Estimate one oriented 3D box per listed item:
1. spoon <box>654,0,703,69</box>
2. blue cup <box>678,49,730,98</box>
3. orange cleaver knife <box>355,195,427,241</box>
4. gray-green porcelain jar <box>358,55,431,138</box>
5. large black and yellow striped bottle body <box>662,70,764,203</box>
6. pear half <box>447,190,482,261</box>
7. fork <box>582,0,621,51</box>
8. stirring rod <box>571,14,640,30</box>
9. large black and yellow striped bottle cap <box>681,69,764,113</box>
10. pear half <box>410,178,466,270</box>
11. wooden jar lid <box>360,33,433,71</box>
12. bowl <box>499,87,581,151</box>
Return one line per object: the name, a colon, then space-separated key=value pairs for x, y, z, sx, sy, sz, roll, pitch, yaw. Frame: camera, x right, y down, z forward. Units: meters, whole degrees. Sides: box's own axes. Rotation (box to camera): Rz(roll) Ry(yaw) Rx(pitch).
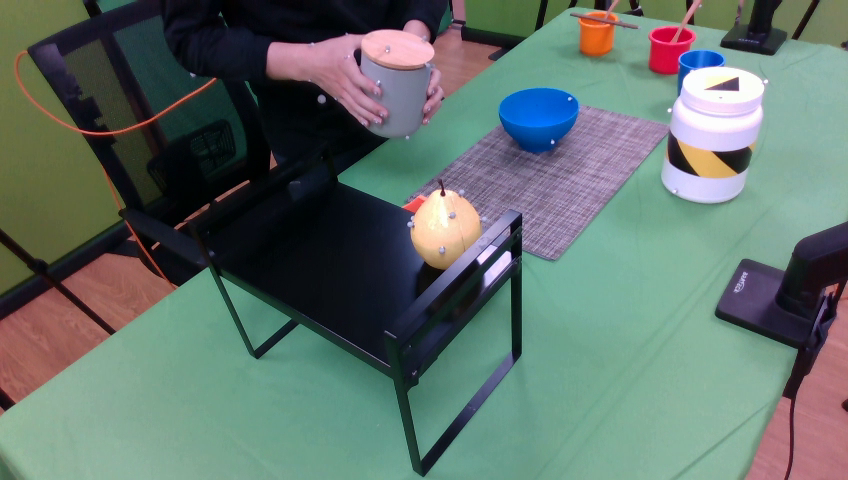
spoon: x=0.569 y=-0.462 z=1.335 sx=0.041 sy=0.022 sz=0.193 roll=34 pitch=99 yaw=37
blue cup: x=0.542 y=-0.310 z=1.194 sx=0.092 sy=0.101 sz=0.092 roll=-6 pitch=41 yaw=6
orange cleaver knife: x=-0.037 y=-0.029 z=0.973 sx=0.210 sy=0.077 sz=0.012 roll=-8 pitch=33 yaw=50
gray-green porcelain jar: x=-0.048 y=-0.231 z=0.937 sx=0.106 sy=0.127 sz=0.105 roll=5 pitch=45 yaw=-5
large black and yellow striped bottle body: x=0.464 y=-0.166 z=0.976 sx=0.131 sy=0.185 sz=0.130 roll=-5 pitch=41 yaw=5
pear half: x=0.046 y=-0.020 z=0.664 sx=0.031 sy=0.088 sz=0.070 roll=-17 pitch=38 yaw=-9
fork: x=0.445 y=-0.538 z=1.438 sx=0.207 sy=0.019 sz=0.028 roll=-57 pitch=36 yaw=12
stirring rod: x=0.419 y=-0.508 z=1.404 sx=0.174 sy=0.006 sz=0.014 roll=28 pitch=55 yaw=35
large black and yellow striped bottle cap: x=0.453 y=-0.229 z=0.921 sx=0.115 sy=0.019 sz=0.114 roll=-4 pitch=39 yaw=4
pear half: x=0.011 y=-0.019 z=0.654 sx=0.056 sy=0.110 sz=0.076 roll=-16 pitch=37 yaw=-9
wooden jar lid: x=-0.041 y=-0.274 z=0.893 sx=0.108 sy=0.021 sz=0.108 roll=7 pitch=43 yaw=-6
bowl: x=0.221 y=-0.223 z=1.156 sx=0.151 sy=0.077 sz=0.150 roll=-4 pitch=40 yaw=4
